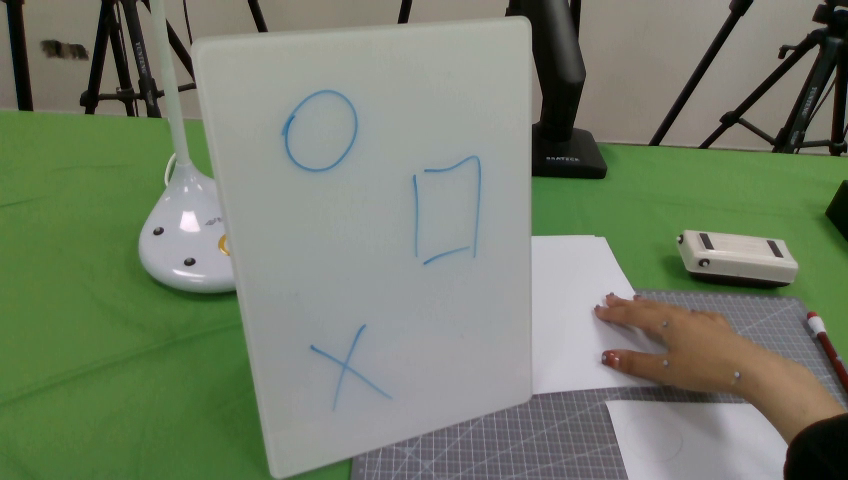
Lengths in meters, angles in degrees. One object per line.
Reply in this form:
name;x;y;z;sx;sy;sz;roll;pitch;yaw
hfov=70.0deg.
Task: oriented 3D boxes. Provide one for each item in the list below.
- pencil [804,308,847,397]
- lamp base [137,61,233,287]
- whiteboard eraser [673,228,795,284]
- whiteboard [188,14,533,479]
pencil;0.378;0.132;0.538;0.012;0.012;0.192;7;41;2
lamp base;-0.218;-0.072;0.593;0.177;0.182;0.160;29;44;31
whiteboard eraser;0.333;0.018;0.657;0.112;0.042;0.055;7;39;2
whiteboard;-0.043;-0.008;0.479;0.218;0.307;0.142;-11;21;-18
